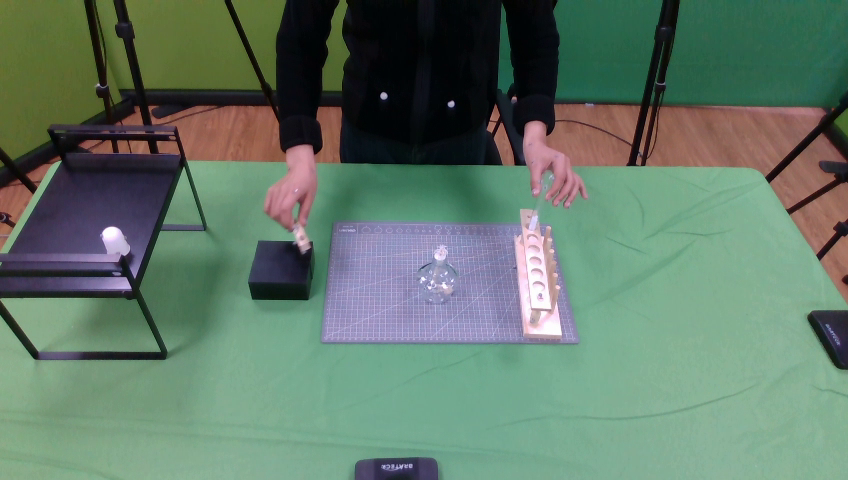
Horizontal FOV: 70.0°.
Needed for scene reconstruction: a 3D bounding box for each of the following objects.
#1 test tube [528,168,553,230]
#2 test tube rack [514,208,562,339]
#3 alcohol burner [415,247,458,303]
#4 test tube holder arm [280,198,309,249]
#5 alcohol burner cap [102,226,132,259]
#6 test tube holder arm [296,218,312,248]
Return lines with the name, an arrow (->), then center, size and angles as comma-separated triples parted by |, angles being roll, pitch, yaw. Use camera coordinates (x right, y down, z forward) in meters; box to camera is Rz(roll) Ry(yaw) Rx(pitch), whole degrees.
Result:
test tube -> 0.207, -0.068, 1.087 | 0.017, 0.151, 0.017 | 3, 47, -3
test tube rack -> 0.212, 0.056, 1.113 | 0.067, 0.085, 0.241 | 3, 46, -1
alcohol burner -> 0.024, 0.057, 1.078 | 0.078, 0.119, 0.077 | 3, 44, -2
test tube holder arm -> -0.233, -0.033, 1.082 | 0.013, 0.015, 0.177 | -17, 35, -20
alcohol burner cap -> -0.457, 0.001, 0.897 | 0.034, 0.048, 0.033 | 2, 46, -2
test tube holder arm -> -0.209, -0.013, 1.048 | 0.010, 0.015, 0.087 | -16, 34, -18
